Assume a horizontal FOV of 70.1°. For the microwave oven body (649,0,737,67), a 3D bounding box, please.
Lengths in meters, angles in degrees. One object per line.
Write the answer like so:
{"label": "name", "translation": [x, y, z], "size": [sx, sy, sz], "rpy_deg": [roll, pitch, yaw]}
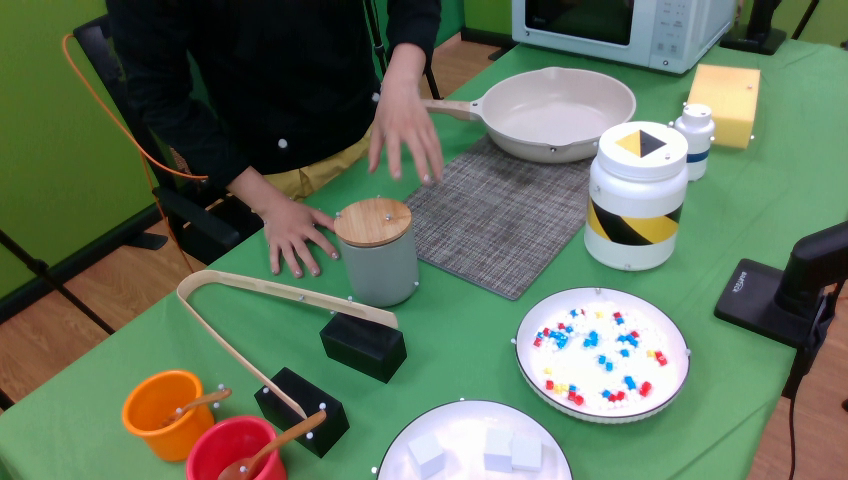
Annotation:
{"label": "microwave oven body", "translation": [0.475, -0.602, 1.411], "size": [0.438, 0.261, 0.327], "rpy_deg": [23, 50, 32]}

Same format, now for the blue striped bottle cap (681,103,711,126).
{"label": "blue striped bottle cap", "translation": [0.446, -0.205, 0.990], "size": [0.044, 0.021, 0.044], "rpy_deg": [-5, 43, 5]}

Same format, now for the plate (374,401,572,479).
{"label": "plate", "translation": [0.051, 0.268, 0.639], "size": [0.207, 0.039, 0.206], "rpy_deg": [-3, 40, 3]}

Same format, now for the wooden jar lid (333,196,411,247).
{"label": "wooden jar lid", "translation": [-0.071, -0.023, 0.831], "size": [0.108, 0.021, 0.108], "rpy_deg": [-4, 36, 3]}

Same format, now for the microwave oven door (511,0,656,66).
{"label": "microwave oven door", "translation": [0.351, -0.539, 1.348], "size": [0.353, 0.245, 0.039], "rpy_deg": [24, 50, 31]}

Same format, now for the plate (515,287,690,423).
{"label": "plate", "translation": [0.220, 0.144, 0.760], "size": [0.209, 0.038, 0.208], "rpy_deg": [-4, 40, 4]}

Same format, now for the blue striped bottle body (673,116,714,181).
{"label": "blue striped bottle body", "translation": [0.451, -0.166, 1.023], "size": [0.063, 0.121, 0.063], "rpy_deg": [-4, 41, 4]}

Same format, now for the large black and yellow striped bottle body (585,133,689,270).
{"label": "large black and yellow striped bottle body", "translation": [0.305, -0.061, 0.874], "size": [0.131, 0.185, 0.130], "rpy_deg": [-4, 41, 4]}

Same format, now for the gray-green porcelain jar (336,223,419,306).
{"label": "gray-green porcelain jar", "translation": [-0.064, 0.024, 0.872], "size": [0.106, 0.127, 0.105], "rpy_deg": [-4, 41, 4]}

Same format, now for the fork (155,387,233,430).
{"label": "fork", "translation": [-0.264, 0.191, 0.688], "size": [0.206, 0.018, 0.028], "rpy_deg": [-33, 8, 44]}

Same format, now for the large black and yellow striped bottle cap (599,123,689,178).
{"label": "large black and yellow striped bottle cap", "translation": [0.297, -0.123, 0.818], "size": [0.115, 0.019, 0.114], "rpy_deg": [-5, 40, 4]}

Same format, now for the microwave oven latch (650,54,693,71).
{"label": "microwave oven latch", "translation": [0.531, -0.386, 1.301], "size": [0.078, 0.029, 0.030], "rpy_deg": [26, 51, 33]}

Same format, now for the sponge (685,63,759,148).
{"label": "sponge", "translation": [0.569, -0.263, 1.164], "size": [0.117, 0.061, 0.207], "rpy_deg": [12, 45, 22]}

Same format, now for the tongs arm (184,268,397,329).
{"label": "tongs arm", "translation": [-0.202, 0.084, 0.848], "size": [0.382, 0.027, 0.051], "rpy_deg": [11, 45, 35]}

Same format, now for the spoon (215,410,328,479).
{"label": "spoon", "translation": [-0.165, 0.224, 0.639], "size": [0.193, 0.022, 0.041], "rpy_deg": [-40, 32, 30]}

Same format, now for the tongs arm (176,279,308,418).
{"label": "tongs arm", "translation": [-0.254, 0.133, 0.801], "size": [0.028, 0.028, 0.384], "rpy_deg": [-41, 40, -23]}

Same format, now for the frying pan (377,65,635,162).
{"label": "frying pan", "translation": [0.150, -0.254, 1.176], "size": [0.488, 0.103, 0.306], "rpy_deg": [7, 41, 3]}
